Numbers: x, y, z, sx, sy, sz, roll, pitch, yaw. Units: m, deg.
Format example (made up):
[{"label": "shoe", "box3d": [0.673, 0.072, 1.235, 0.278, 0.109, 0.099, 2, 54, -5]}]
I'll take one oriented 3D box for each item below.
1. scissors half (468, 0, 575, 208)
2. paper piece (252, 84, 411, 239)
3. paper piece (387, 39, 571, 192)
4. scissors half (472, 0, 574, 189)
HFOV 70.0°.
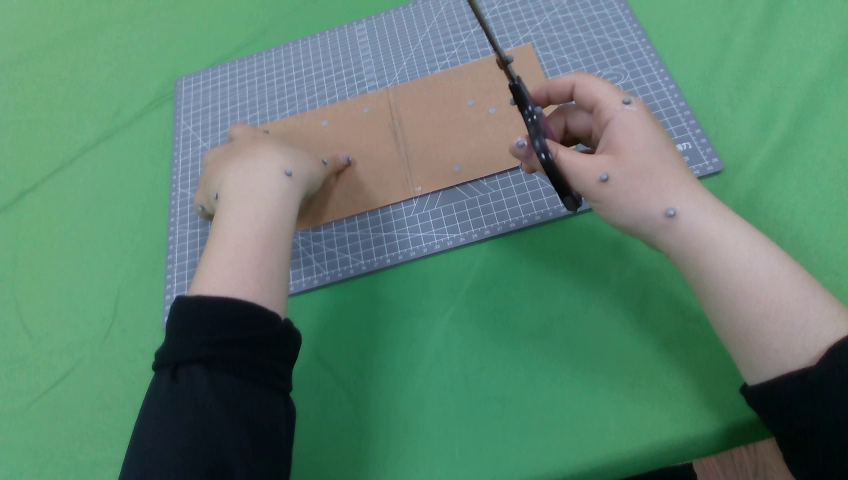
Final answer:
[{"label": "scissors half", "box3d": [0.051, -0.096, 0.361, 0.013, 0.176, 0.040, -24, 12, 19]}, {"label": "paper piece", "box3d": [-0.087, -0.074, 0.533, 0.138, 0.009, 0.134, -17, 53, 6]}, {"label": "paper piece", "box3d": [0.041, -0.112, 0.521, 0.135, 0.004, 0.134, -16, 57, 6]}, {"label": "scissors half", "box3d": [0.055, -0.105, 0.378, 0.013, 0.177, 0.039, -22, 27, 24]}]
